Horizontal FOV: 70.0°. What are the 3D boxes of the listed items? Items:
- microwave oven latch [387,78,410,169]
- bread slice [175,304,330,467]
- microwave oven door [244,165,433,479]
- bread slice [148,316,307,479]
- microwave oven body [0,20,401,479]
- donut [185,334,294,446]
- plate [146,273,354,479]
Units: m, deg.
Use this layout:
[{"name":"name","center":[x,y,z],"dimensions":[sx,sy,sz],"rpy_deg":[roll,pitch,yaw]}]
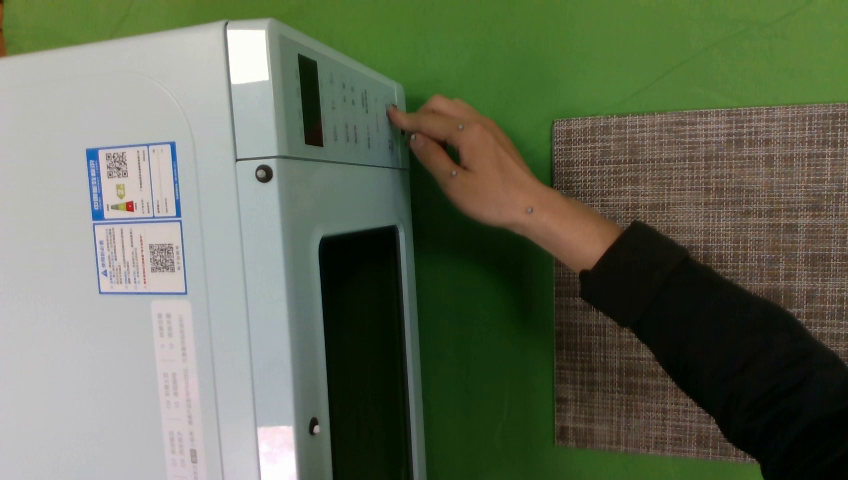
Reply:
[{"name":"microwave oven latch","center":[-0.030,-0.104,0.550],"dimensions":[0.030,0.029,0.079],"rpy_deg":[-2,96,16]},{"name":"bread slice","center":[-0.166,0.127,0.559],"dimensions":[0.134,0.018,0.107],"rpy_deg":[41,97,9]},{"name":"microwave oven door","center":[-0.050,0.122,0.474],"dimensions":[0.039,0.244,0.356],"rpy_deg":[-2,95,18]},{"name":"bread slice","center":[-0.176,0.132,0.513],"dimensions":[0.131,0.019,0.105],"rpy_deg":[46,108,5]},{"name":"microwave oven body","center":[-0.191,0.085,0.517],"dimensions":[0.325,0.260,0.442],"rpy_deg":[-2,95,16]},{"name":"donut","center":[-0.164,0.133,0.538],"dimensions":[0.099,0.048,0.099],"rpy_deg":[1,94,11]},{"name":"plate","center":[-0.159,0.132,0.566],"dimensions":[0.207,0.039,0.208],"rpy_deg":[1,96,14]}]
